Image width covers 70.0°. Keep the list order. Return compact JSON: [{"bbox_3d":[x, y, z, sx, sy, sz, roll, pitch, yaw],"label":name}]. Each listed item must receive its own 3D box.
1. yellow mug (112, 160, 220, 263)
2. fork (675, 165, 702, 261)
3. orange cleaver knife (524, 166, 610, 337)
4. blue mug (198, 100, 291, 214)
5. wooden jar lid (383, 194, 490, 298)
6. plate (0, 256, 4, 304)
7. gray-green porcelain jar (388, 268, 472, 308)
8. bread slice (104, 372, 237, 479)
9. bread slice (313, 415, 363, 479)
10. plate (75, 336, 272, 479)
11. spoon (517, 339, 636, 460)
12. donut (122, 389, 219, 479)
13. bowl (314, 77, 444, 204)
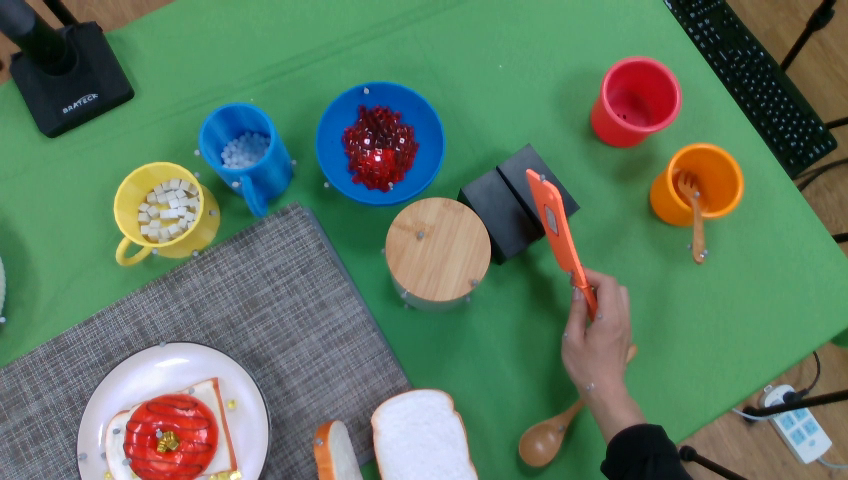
[{"bbox_3d":[-0.309,-0.025,0.707,0.100,0.064,0.130,37,80,6],"label":"yellow mug"},{"bbox_3d":[0.306,-0.036,0.695,0.028,0.019,0.206,32,35,-2],"label":"fork"},{"bbox_3d":[0.159,0.014,0.680,0.012,0.076,0.213,-28,109,-8],"label":"orange cleaver knife"},{"bbox_3d":[-0.203,-0.087,0.705,0.082,0.106,0.116,-10,79,-4],"label":"blue mug"},{"bbox_3d":[0.013,0.007,0.620,0.108,0.021,0.108,1,79,-6],"label":"wooden jar lid"},{"bbox_3d":[-0.583,0.058,0.692,0.208,0.039,0.206,1,78,-3],"label":"plate"},{"bbox_3d":[0.011,0.021,0.682,0.106,0.127,0.105,1,78,-3],"label":"gray-green porcelain jar"},{"bbox_3d":[-0.283,0.218,0.672,0.132,0.019,0.104,-17,79,-9],"label":"bread slice"},{"bbox_3d":[-0.084,0.254,0.642,0.018,0.107,0.133,-18,77,1],"label":"bread slice"},{"bbox_3d":[-0.271,0.212,0.670,0.209,0.038,0.208,1,78,-2],"label":"plate"},{"bbox_3d":[0.183,0.183,0.709,0.193,0.022,0.041,-41,64,-10],"label":"spoon"},{"bbox_3d":[-0.267,0.208,0.642,0.099,0.048,0.098,1,79,-6],"label":"donut"},{"bbox_3d":[-0.053,-0.108,0.730,0.151,0.077,0.150,1,79,-2],"label":"bowl"}]
